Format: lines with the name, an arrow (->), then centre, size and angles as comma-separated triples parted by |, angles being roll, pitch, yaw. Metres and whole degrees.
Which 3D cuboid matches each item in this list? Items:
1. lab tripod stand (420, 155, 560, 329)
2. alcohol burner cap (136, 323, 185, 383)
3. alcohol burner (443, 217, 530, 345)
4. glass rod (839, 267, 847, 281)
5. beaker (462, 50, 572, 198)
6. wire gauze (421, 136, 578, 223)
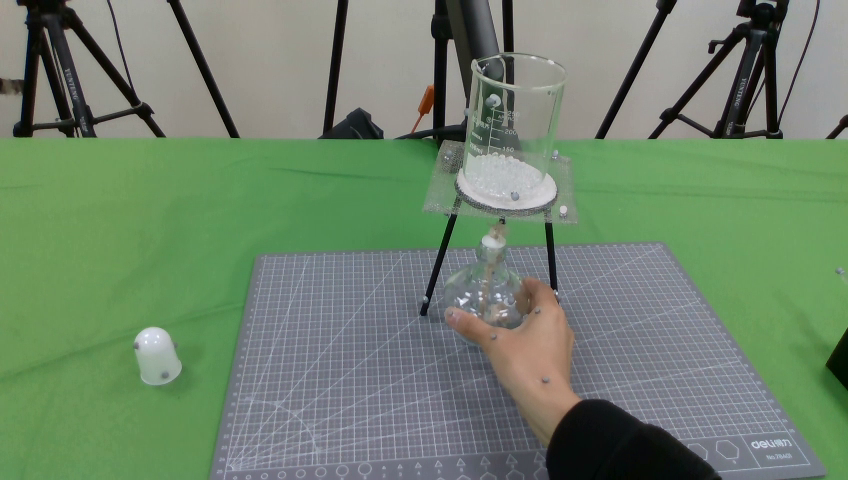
lab tripod stand -> 0.071, 0.002, 0.553 | 0.148, 0.132, 0.147 | 4, 36, -2
alcohol burner cap -> -0.217, 0.090, 0.494 | 0.034, 0.048, 0.033 | 1, 36, -1
alcohol burner -> 0.055, 0.032, 0.526 | 0.078, 0.120, 0.077 | 1, 34, -1
glass rod -> 0.397, 0.086, 0.491 | 0.008, 0.008, 0.197 | 0, 37, -3
beaker -> 0.067, -0.092, 0.487 | 0.083, 0.101, 0.074 | 31, 44, 31
wire gauze -> 0.067, -0.052, 0.514 | 0.121, 0.011, 0.124 | 7, 39, 6
